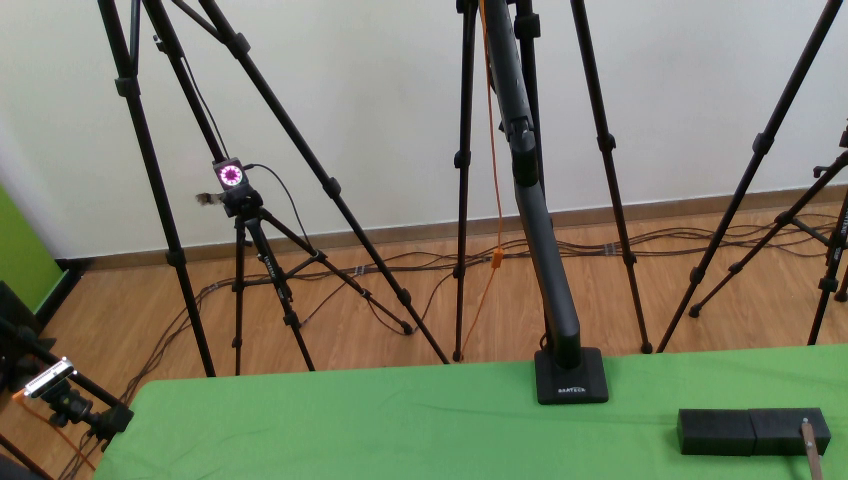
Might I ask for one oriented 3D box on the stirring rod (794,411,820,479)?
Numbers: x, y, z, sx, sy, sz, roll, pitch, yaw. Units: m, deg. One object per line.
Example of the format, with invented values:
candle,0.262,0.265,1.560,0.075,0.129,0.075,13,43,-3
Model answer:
stirring rod,0.542,0.327,0.844,0.014,0.006,0.174,-1,60,10
